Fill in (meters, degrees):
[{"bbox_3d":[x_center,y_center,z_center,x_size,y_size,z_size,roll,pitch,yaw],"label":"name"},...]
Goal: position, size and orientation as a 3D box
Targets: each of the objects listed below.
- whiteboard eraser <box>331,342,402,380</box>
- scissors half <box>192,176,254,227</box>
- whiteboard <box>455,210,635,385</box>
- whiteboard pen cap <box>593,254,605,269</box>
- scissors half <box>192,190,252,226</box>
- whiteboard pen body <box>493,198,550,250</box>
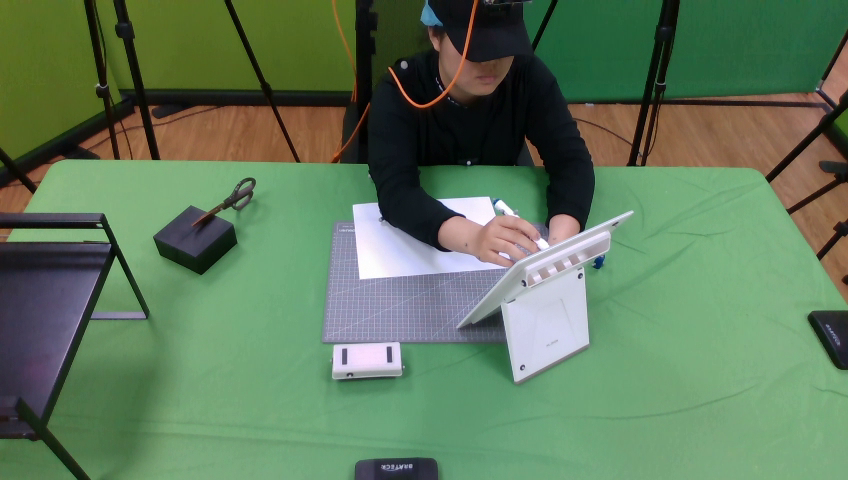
[{"bbox_3d":[-0.094,0.198,0.986,0.113,0.042,0.055,-2,44,-6],"label":"whiteboard eraser"},{"bbox_3d":[-0.388,-0.074,1.174,0.013,0.040,0.174,29,47,7],"label":"scissors half"},{"bbox_3d":[0.211,0.111,0.955,0.217,0.306,0.143,-21,71,-23],"label":"whiteboard"},{"bbox_3d":[0.340,0.041,1.179,0.018,0.033,0.018,2,46,-2],"label":"whiteboard pen cap"},{"bbox_3d":[-0.393,-0.060,1.187,0.013,0.040,0.175,25,29,11],"label":"scissors half"},{"bbox_3d":[0.162,-0.018,0.965,0.017,0.017,0.140,-31,65,-29],"label":"whiteboard pen body"}]
